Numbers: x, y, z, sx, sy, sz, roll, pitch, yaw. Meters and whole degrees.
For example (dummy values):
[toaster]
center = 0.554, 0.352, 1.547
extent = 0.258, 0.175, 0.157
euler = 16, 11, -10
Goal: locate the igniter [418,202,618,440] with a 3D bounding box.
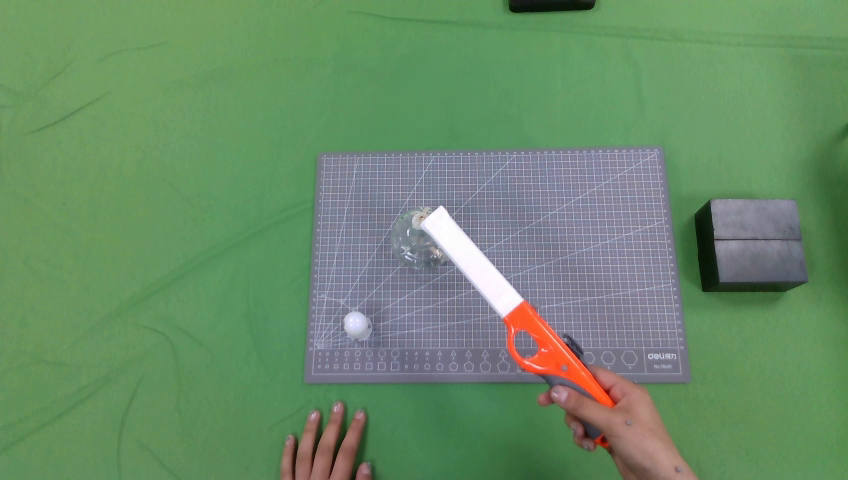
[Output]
[igniter]
center = 0.091, 0.074, 0.592
extent = 0.057, 0.025, 0.275
euler = -40, 78, 1

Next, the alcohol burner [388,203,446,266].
[alcohol burner]
center = -0.004, -0.012, 0.703
extent = 0.078, 0.120, 0.077
euler = 0, 72, 0

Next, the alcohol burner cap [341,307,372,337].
[alcohol burner cap]
center = -0.081, 0.095, 0.712
extent = 0.034, 0.048, 0.033
euler = -1, 74, 5
